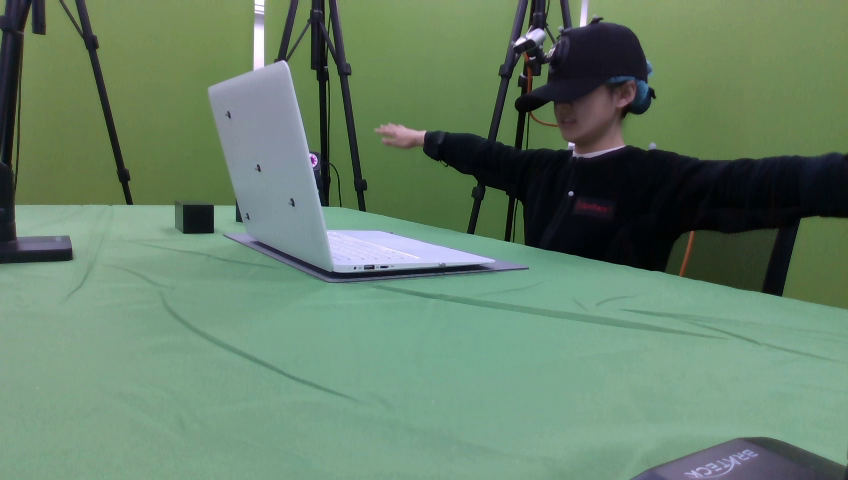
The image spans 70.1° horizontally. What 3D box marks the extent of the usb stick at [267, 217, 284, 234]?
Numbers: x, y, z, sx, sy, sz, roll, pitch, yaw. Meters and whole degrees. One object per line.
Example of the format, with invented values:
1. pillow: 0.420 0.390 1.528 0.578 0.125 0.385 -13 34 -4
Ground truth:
1. usb stick: -0.263 -0.026 1.079 0.021 0.027 0.059 -1 11 -28

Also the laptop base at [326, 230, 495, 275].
1. laptop base: -0.093 0.015 0.884 0.237 0.023 0.352 3 6 -33

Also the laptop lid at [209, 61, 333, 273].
1. laptop lid: -0.213 -0.095 0.790 0.013 0.241 0.355 -18 18 -29
